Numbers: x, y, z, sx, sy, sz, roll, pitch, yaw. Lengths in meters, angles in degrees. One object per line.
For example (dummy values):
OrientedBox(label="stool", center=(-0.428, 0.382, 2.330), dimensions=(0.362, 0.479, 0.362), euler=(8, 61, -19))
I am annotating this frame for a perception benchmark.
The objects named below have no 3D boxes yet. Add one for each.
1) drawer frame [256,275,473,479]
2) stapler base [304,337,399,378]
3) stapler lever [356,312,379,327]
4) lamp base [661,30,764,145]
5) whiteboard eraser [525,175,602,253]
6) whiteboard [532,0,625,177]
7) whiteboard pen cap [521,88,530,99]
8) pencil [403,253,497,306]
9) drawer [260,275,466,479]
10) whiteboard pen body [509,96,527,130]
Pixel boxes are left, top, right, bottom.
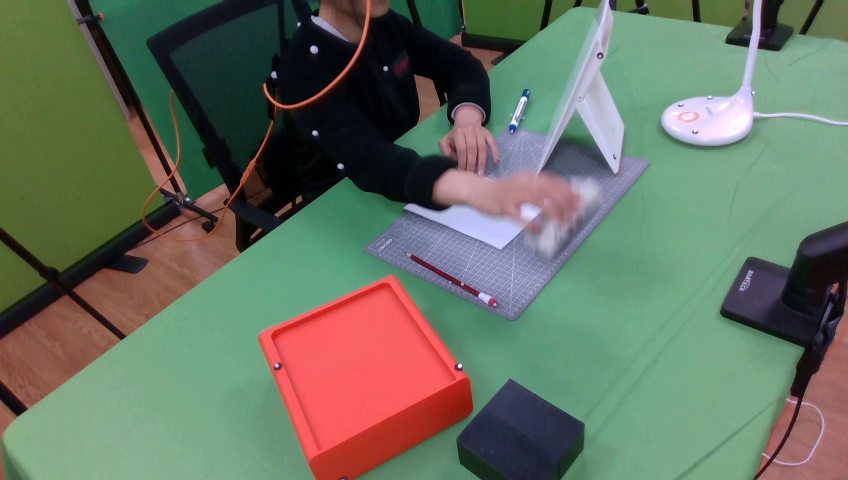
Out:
OrientedBox(label="drawer frame", center=(-0.078, 0.164, 0.756), dimensions=(0.202, 0.083, 0.211), euler=(-23, 43, -17))
OrientedBox(label="stapler base", center=(-0.099, 0.150, 0.805), dimensions=(0.130, 0.024, 0.041), euler=(-14, 25, 2))
OrientedBox(label="stapler lever", center=(-0.107, 0.127, 0.792), dimensions=(0.118, 0.040, 0.026), euler=(-16, 26, 3))
OrientedBox(label="lamp base", center=(0.535, -0.287, 1.096), dimensions=(0.179, 0.181, 0.159), euler=(-10, 40, -4))
OrientedBox(label="whiteboard eraser", center=(0.186, -0.034, 0.799), dimensions=(0.112, 0.042, 0.055), euler=(-51, 14, -4))
OrientedBox(label="whiteboard", center=(0.321, -0.258, 1.050), dimensions=(0.144, 0.306, 0.217), euler=(21, 45, 5))
OrientedBox(label="whiteboard pen cap", center=(0.218, -0.312, 1.301), dimensions=(0.018, 0.018, 0.033), euler=(7, 47, 18))
OrientedBox(label="pencil", center=(0.034, 0.056, 0.914), dimensions=(0.192, 0.012, 0.012), euler=(27, 52, 37))
OrientedBox(label="drawer", center=(-0.080, 0.163, 0.760), dimensions=(0.195, 0.073, 0.210), euler=(-22, 43, -16))
OrientedBox(label="whiteboard pen body", center=(0.199, -0.273, 1.261), dimensions=(0.017, 0.017, 0.140), euler=(8, 44, 19))
